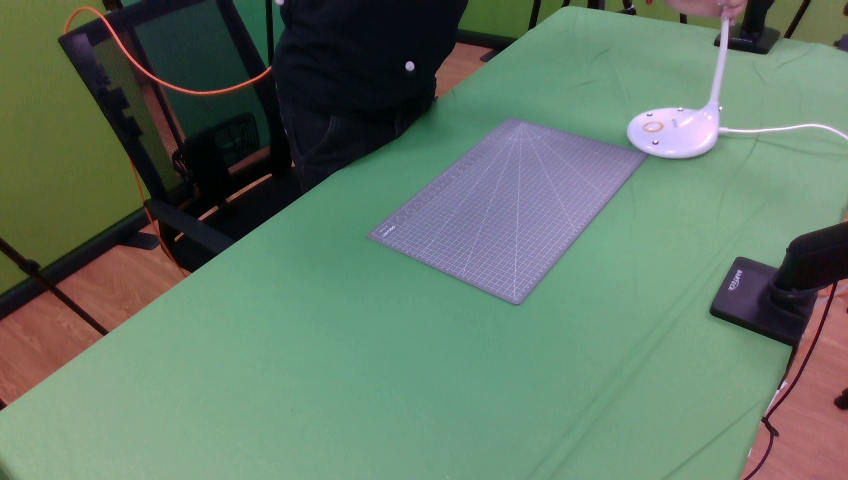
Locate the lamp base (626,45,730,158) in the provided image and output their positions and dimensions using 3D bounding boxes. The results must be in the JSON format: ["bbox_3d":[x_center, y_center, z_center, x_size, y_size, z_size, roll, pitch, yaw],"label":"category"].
[{"bbox_3d":[0.468,-0.262,1.086,0.179,0.181,0.159,-4,41,-1],"label":"lamp base"}]
